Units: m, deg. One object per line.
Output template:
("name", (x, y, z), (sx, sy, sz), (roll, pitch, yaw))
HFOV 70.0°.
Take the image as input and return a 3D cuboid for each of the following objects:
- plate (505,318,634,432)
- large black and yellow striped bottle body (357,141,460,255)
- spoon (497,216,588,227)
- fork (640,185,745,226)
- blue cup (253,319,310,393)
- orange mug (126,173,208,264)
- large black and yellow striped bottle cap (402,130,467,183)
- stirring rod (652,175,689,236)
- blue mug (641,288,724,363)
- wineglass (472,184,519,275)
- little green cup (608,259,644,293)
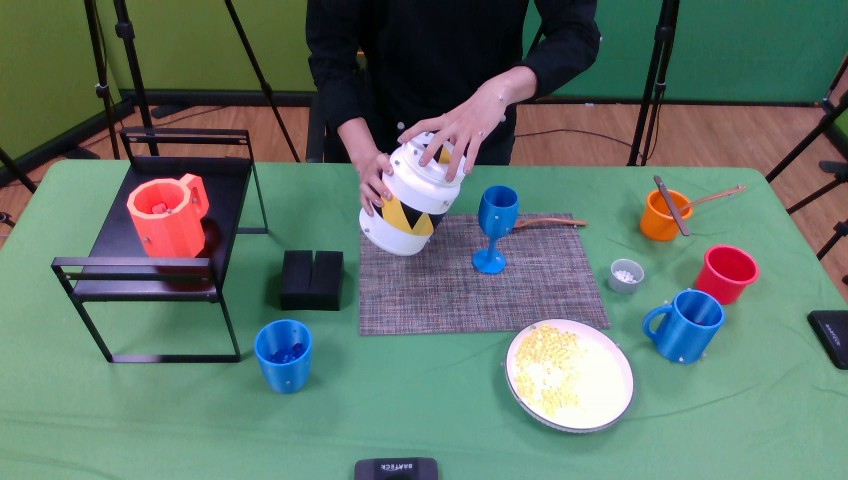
("plate", (0.235, 0.221, 0.991), (0.209, 0.038, 0.208), (2, 45, -2))
("large black and yellow striped bottle body", (-0.021, -0.079, 1.032), (0.131, 0.184, 0.130), (23, 35, -17))
("spoon", (0.245, -0.039, 1.247), (0.194, 0.022, 0.041), (-1, 25, -6))
("fork", (0.534, -0.069, 1.215), (0.207, 0.019, 0.028), (-26, 27, 33))
("blue cup", (-0.217, 0.187, 0.943), (0.093, 0.101, 0.092), (4, 45, -3))
("orange mug", (-0.371, -0.040, 0.902), (0.083, 0.101, 0.126), (18, 52, 13))
("large black and yellow striped bottle cap", (0.018, -0.137, 0.987), (0.115, 0.019, 0.114), (23, 35, -18))
("stirring rod", (0.492, -0.072, 1.211), (0.014, 0.006, 0.175), (0, 46, -7))
("blue mug", (0.432, 0.144, 1.033), (0.116, 0.106, 0.082), (8, 46, 5))
("wineglass", (0.129, -0.018, 1.113), (0.074, 0.173, 0.073), (2, 46, -2))
("little green cup", (0.379, 0.070, 1.147), (0.061, 0.039, 0.061), (3, 46, -3))
